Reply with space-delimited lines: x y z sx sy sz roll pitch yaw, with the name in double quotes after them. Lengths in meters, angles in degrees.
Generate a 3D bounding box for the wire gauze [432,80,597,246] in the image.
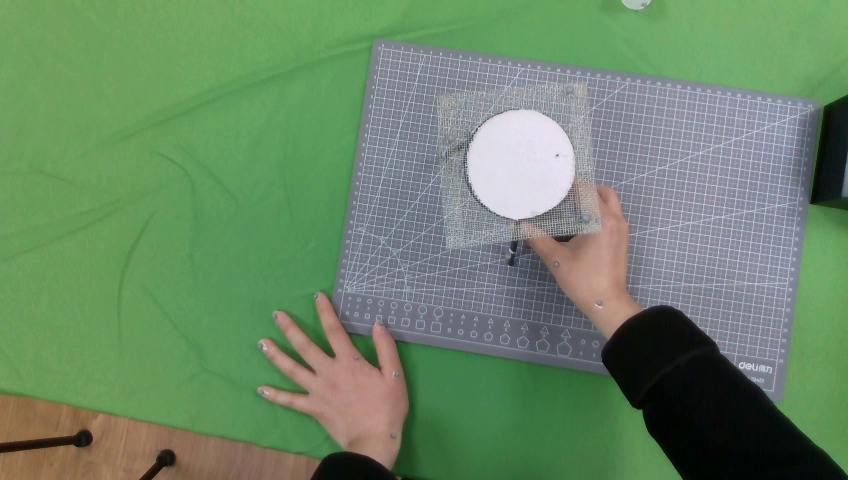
0.069 -0.062 0.475 0.121 0.011 0.125 -4 89 1 "wire gauze"

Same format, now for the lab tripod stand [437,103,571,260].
0.076 -0.056 0.542 0.148 0.131 0.148 0 88 1 "lab tripod stand"

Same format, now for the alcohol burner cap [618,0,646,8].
0.210 -0.253 0.595 0.034 0.048 0.034 0 87 5 "alcohol burner cap"

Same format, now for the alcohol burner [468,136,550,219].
0.079 -0.060 0.552 0.078 0.119 0.077 0 85 3 "alcohol burner"
